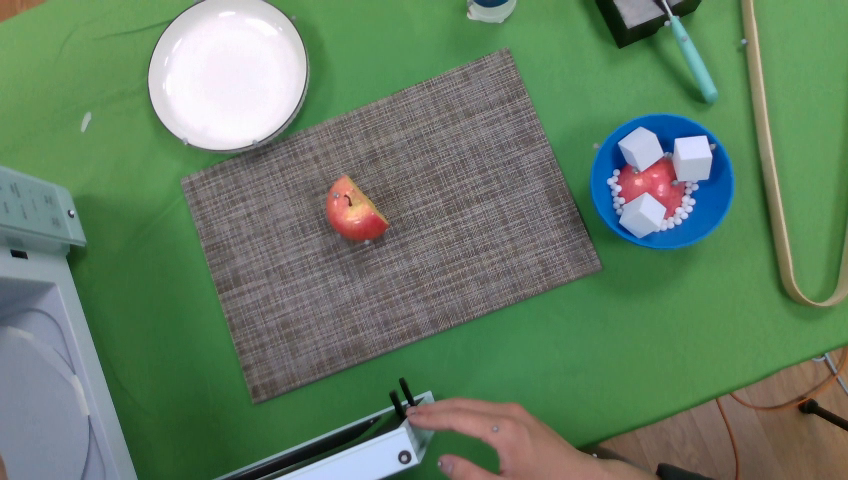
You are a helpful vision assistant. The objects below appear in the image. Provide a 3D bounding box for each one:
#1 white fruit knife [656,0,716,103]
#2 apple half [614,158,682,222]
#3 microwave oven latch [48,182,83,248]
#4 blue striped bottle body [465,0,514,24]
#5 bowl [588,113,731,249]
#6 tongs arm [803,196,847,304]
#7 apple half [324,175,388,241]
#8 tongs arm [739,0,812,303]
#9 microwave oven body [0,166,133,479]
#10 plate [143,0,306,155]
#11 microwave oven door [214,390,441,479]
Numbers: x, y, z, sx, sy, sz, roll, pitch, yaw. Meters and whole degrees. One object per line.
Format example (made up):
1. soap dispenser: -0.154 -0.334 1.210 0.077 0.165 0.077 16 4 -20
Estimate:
1. white fruit knife: 0.288 -0.251 0.706 0.016 0.027 0.208 -29 98 18
2. apple half: 0.257 -0.059 0.685 0.081 0.033 0.081 -1 82 7
3. microwave oven latch: -0.453 -0.031 0.751 0.030 0.029 0.079 -23 82 1
4. blue striped bottle body: 0.077 -0.313 0.715 0.063 0.121 0.063 -1 82 6
5. bowl: 0.257 -0.060 0.689 0.151 0.077 0.151 -1 83 6
6. tongs arm: 0.483 -0.114 0.697 0.050 0.026 0.384 8 84 6
7. apple half: -0.087 -0.030 0.715 0.053 0.075 0.080 -42 84 4
8. tongs arm: 0.403 -0.118 0.707 0.028 0.028 0.386 -5 82 2
9. microwave oven body: -0.531 0.175 0.634 0.326 0.261 0.440 -23 82 1
10. plate: -0.250 -0.206 0.774 0.207 0.039 0.207 -1 83 5
11. microwave oven door: -0.161 0.242 0.588 0.356 0.244 0.039 -23 80 2
